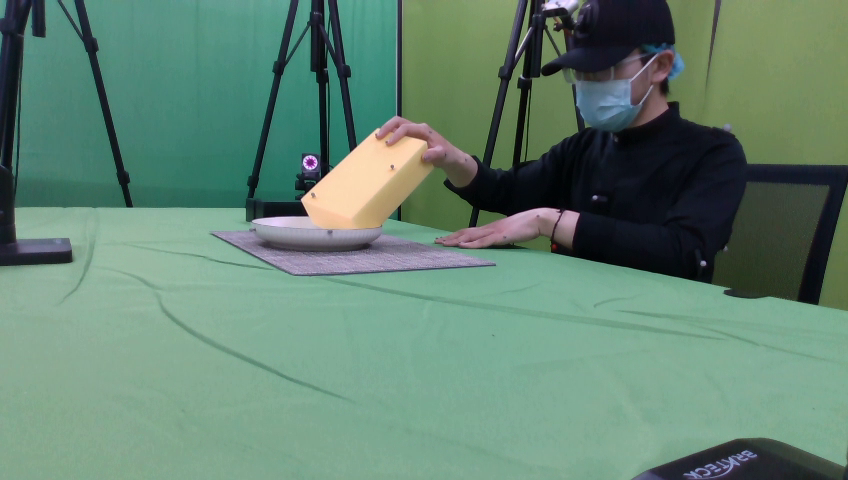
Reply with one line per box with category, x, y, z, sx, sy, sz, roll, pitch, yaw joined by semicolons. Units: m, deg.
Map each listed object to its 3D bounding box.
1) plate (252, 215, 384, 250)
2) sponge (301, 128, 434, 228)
plate;-0.169;-0.012;0.976;0.208;0.039;0.207;2;7;0
sponge;-0.091;-0.098;1.023;0.117;0.061;0.207;19;54;34
